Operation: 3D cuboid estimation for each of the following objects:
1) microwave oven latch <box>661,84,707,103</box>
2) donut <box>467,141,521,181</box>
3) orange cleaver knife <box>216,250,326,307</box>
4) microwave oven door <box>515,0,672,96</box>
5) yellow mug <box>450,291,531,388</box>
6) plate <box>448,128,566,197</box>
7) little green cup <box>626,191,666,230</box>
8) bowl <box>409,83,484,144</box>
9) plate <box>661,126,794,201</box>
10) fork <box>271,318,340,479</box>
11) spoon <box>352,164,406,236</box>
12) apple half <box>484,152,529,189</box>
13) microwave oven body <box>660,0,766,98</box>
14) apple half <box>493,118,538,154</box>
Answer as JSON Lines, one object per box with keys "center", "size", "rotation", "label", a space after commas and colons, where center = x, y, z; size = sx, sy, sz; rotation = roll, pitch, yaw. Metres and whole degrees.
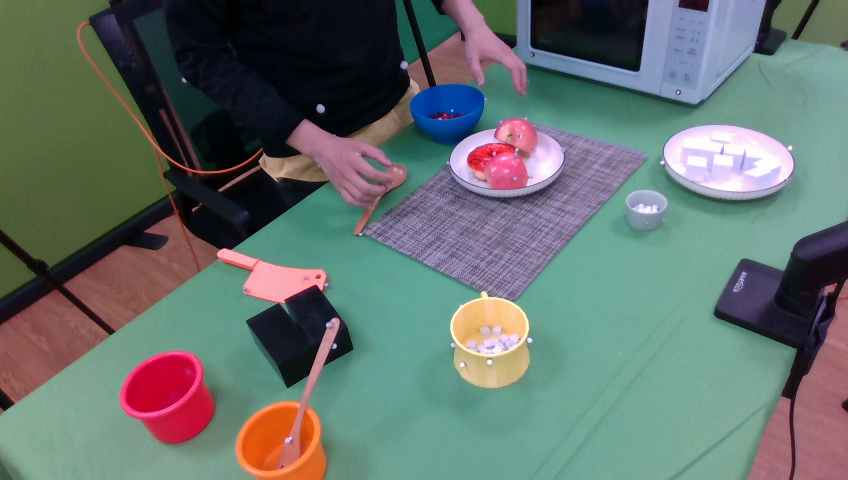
{"center": [0.517, -0.296, 1.204], "size": [0.078, 0.029, 0.030], "rotation": [27, 52, 34], "label": "microwave oven latch"}
{"center": [0.126, -0.144, 1.090], "size": [0.099, 0.048, 0.098], "rotation": [-5, 39, 5], "label": "donut"}
{"center": [-0.248, 0.058, 0.945], "size": [0.210, 0.012, 0.077], "rotation": [13, 49, 20], "label": "orange cleaver knife"}
{"center": [0.343, -0.454, 1.259], "size": [0.353, 0.245, 0.039], "rotation": [26, 51, 33], "label": "microwave oven door"}
{"center": [0.085, 0.120, 0.786], "size": [0.100, 0.064, 0.130], "rotation": [-7, 39, 1], "label": "yellow mug"}
{"center": [0.150, -0.138, 1.096], "size": [0.209, 0.038, 0.208], "rotation": [-4, 40, 4], "label": "plate"}
{"center": [0.352, -0.046, 0.963], "size": [0.061, 0.039, 0.061], "rotation": [-4, 40, 4], "label": "little green cup"}
{"center": [0.048, -0.245, 1.213], "size": [0.151, 0.077, 0.150], "rotation": [-4, 40, 4], "label": "bowl"}
{"center": [0.513, -0.128, 1.035], "size": [0.207, 0.039, 0.206], "rotation": [-4, 40, 4], "label": "plate"}
{"center": [-0.132, 0.186, 0.676], "size": [0.028, 0.019, 0.207], "rotation": [18, 90, 28], "label": "fork"}
{"center": [-0.083, -0.074, 1.074], "size": [0.041, 0.022, 0.194], "rotation": [21, 46, 10], "label": "spoon"}
{"center": [0.144, -0.116, 1.032], "size": [0.081, 0.033, 0.081], "rotation": [3, 78, -11], "label": "apple half"}
{"center": [0.472, -0.513, 1.317], "size": [0.438, 0.261, 0.327], "rotation": [26, 51, 34], "label": "microwave oven body"}
{"center": [0.175, -0.197, 1.113], "size": [0.080, 0.053, 0.075], "rotation": [29, 12, 34], "label": "apple half"}
